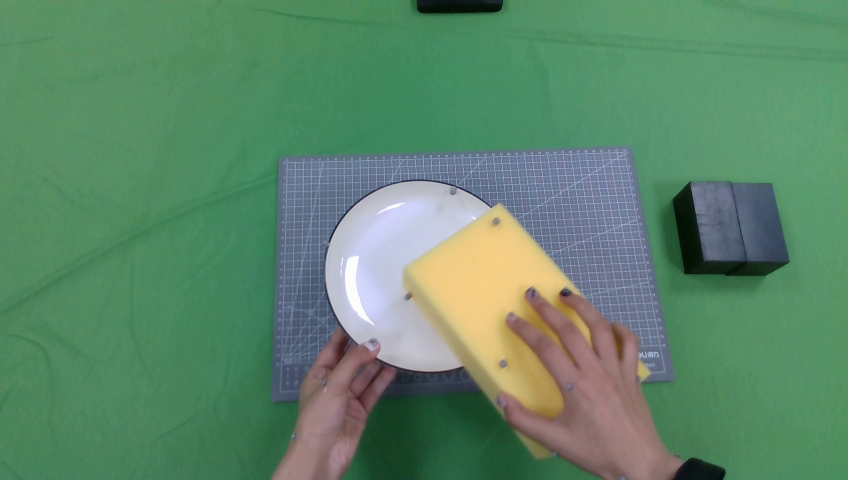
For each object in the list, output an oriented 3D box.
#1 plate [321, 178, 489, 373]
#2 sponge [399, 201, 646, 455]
[{"bbox_3d":[-0.001,0.036,0.627,0.209,0.038,0.207,3,69,-8],"label":"plate"},{"bbox_3d":[0.085,0.079,0.567,0.118,0.061,0.205,-36,74,-17],"label":"sponge"}]
